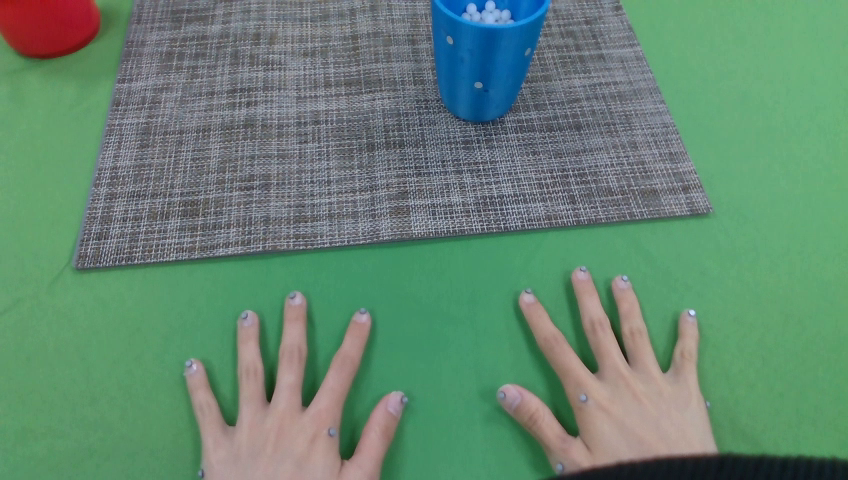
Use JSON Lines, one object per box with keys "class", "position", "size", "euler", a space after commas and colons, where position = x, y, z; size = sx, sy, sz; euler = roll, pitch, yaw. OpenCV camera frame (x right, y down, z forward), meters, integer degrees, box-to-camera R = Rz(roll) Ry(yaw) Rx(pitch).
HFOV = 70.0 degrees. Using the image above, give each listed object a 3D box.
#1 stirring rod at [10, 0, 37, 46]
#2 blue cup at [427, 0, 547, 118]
{"class": "stirring rod", "position": [-0.306, -0.241, 0.495], "size": [0.014, 0.006, 0.176], "euler": [38, 106, 25]}
{"class": "blue cup", "position": [0.043, -0.149, 0.457], "size": [0.093, 0.101, 0.092], "euler": [1, 57, -1]}
